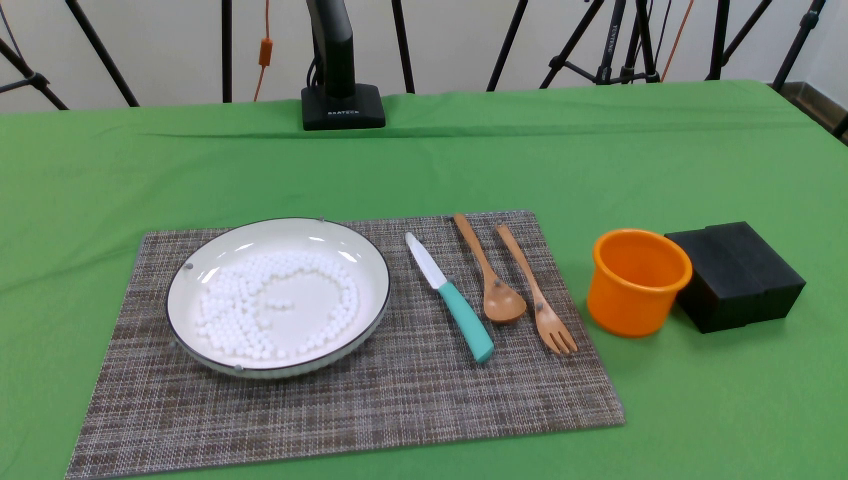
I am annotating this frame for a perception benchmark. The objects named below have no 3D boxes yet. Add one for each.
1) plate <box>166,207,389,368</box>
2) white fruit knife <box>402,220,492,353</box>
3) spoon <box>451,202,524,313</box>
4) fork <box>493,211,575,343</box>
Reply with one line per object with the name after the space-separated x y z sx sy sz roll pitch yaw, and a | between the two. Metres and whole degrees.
-0.137 0.044 0.591 0.209 0.038 0.207 2 41 -1 | plate
0.018 0.038 0.624 0.027 0.016 0.205 -3 39 -27 | white fruit knife
0.061 0.012 0.652 0.041 0.022 0.191 -19 44 -2 | spoon
0.108 0.032 0.635 0.028 0.019 0.205 -13 45 -6 | fork
